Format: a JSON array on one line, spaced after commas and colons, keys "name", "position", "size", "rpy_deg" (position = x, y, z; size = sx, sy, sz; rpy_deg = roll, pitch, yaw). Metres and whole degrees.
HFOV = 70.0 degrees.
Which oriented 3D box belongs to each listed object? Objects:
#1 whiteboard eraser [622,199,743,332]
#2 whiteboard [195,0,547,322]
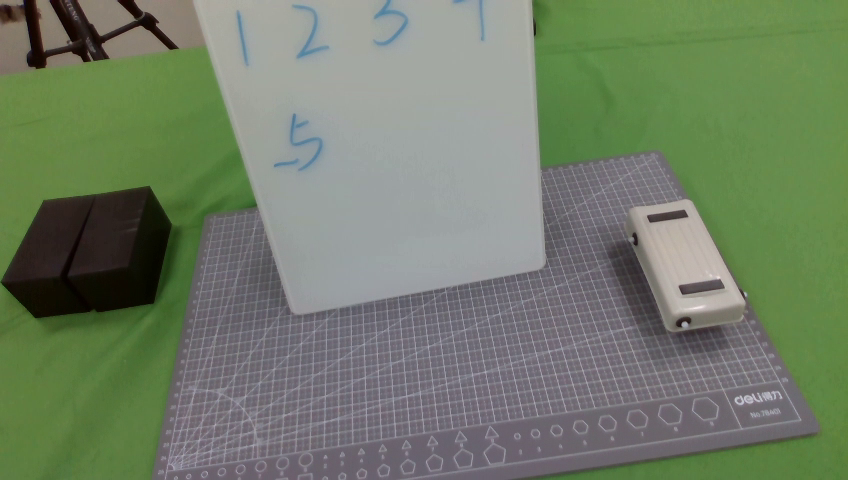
[{"name": "whiteboard eraser", "position": [0.198, 0.020, 0.473], "size": [0.055, 0.042, 0.111], "rpy_deg": [-7, 47, 1]}, {"name": "whiteboard", "position": [-0.031, -0.116, 0.489], "size": [0.217, 0.308, 0.142], "rpy_deg": [-10, 28, -1]}]
